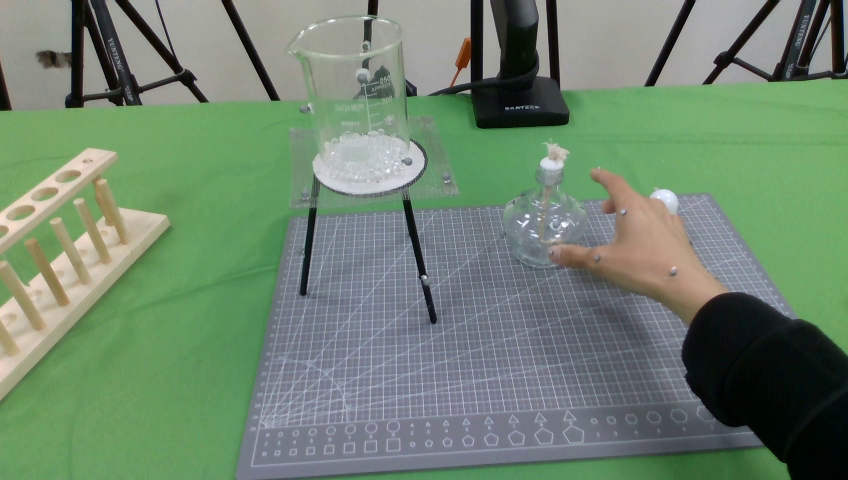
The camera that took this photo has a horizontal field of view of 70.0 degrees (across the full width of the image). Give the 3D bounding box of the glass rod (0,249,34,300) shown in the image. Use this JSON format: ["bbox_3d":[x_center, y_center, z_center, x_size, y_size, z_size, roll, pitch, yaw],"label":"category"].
[{"bbox_3d":[-0.361,-0.031,0.487,0.008,0.201,0.008,-5,34,3],"label":"glass rod"}]

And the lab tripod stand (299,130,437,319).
[{"bbox_3d":[-0.043,-0.013,0.515,0.148,0.133,0.147,-2,42,2],"label":"lab tripod stand"}]

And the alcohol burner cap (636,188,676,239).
[{"bbox_3d":[0.230,-0.028,0.594,0.034,0.048,0.033,-1,40,1],"label":"alcohol burner cap"}]

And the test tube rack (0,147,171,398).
[{"bbox_3d":[-0.332,0.020,0.529,0.066,0.086,0.241,10,41,13],"label":"test tube rack"}]

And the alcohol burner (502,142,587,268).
[{"bbox_3d":[0.111,-0.035,0.550,0.078,0.120,0.077,-1,38,1],"label":"alcohol burner"}]

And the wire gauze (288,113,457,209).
[{"bbox_3d":[-0.045,-0.063,0.473,0.125,0.011,0.120,-9,38,-4],"label":"wire gauze"}]

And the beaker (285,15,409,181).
[{"bbox_3d":[-0.051,-0.100,0.441,0.084,0.101,0.073,-7,40,-5],"label":"beaker"}]
